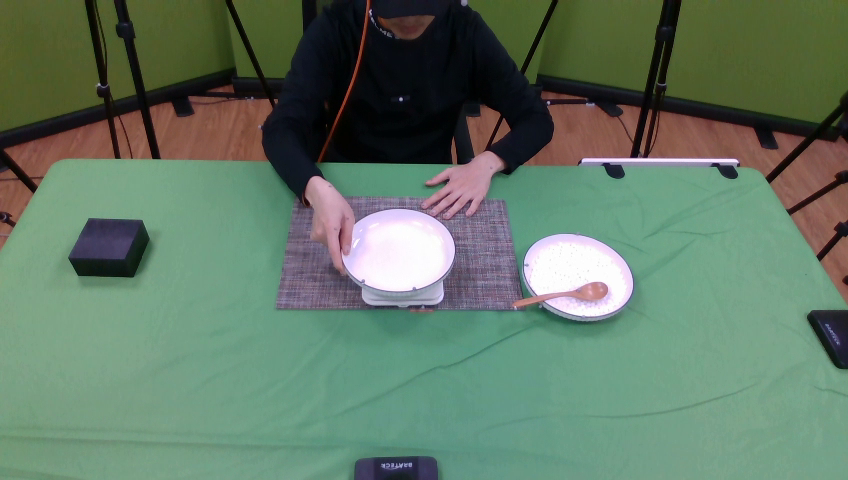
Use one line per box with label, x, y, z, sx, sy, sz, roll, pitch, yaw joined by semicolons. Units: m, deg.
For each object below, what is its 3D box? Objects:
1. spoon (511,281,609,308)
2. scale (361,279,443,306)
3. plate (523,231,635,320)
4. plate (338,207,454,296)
spoon;0.245;0.098;1.088;0.194;0.022;0.041;-5;47;-19
scale;-0.042;0.040;1.143;0.149;0.032;0.199;0;46;-4
plate;0.287;0.069;1.141;0.209;0.038;0.208;2;46;-2
plate;-0.050;0.024;1.095;0.208;0.039;0.206;1;47;-1
